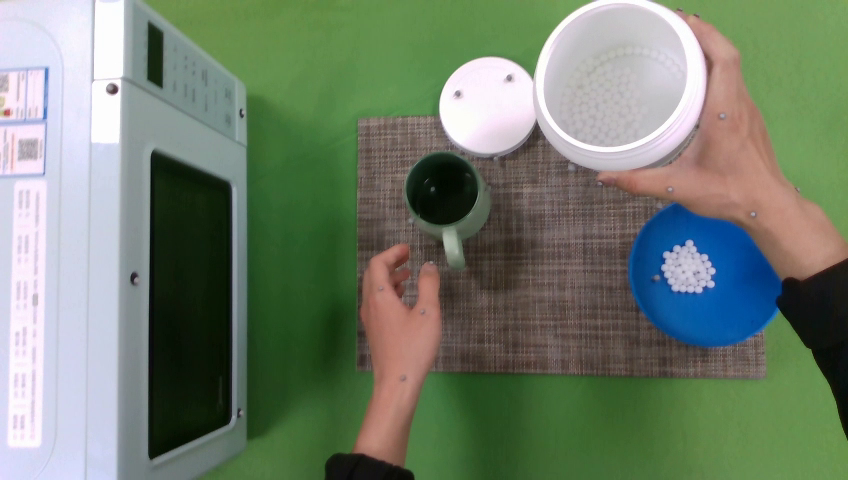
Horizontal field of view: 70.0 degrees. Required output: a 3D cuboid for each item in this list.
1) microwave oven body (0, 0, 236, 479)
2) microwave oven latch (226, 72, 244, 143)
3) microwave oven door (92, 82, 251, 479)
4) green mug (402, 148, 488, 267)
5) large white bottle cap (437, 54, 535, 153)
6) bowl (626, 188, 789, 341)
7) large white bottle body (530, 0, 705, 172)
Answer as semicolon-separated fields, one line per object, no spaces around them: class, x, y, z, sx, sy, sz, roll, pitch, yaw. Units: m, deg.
microwave oven body;-0.383;0.020;0.621;0.326;0.261;0.440;-2;86;6
microwave oven latch;-0.229;-0.154;0.711;0.030;0.029;0.079;-2;87;7
microwave oven door;-0.237;0.056;0.595;0.039;0.244;0.355;-3;86;8
green mug;0.025;-0.033;0.652;0.092;0.105;0.125;-10;85;6
large white bottle cap;0.072;-0.157;0.697;0.114;0.018;0.114;-1;82;8
bowl;0.281;0.027;0.629;0.151;0.077;0.151;-1;86;8
large white bottle body;0.163;-0.125;0.510;0.130;0.185;0.130;2;95;21
